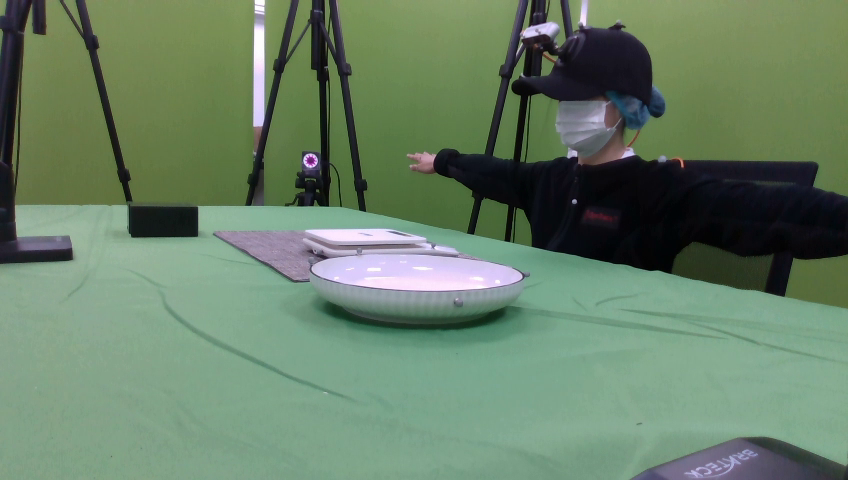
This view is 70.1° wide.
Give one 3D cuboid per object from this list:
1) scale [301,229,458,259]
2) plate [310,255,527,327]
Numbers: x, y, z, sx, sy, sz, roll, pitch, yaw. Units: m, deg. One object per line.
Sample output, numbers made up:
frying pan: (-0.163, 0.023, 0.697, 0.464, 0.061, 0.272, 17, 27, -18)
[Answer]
scale: (-0.065, 0.007, 0.878, 0.202, 0.031, 0.148, 0, 8, -29)
plate: (-0.006, 0.047, 0.587, 0.208, 0.039, 0.207, 3, 7, 0)
